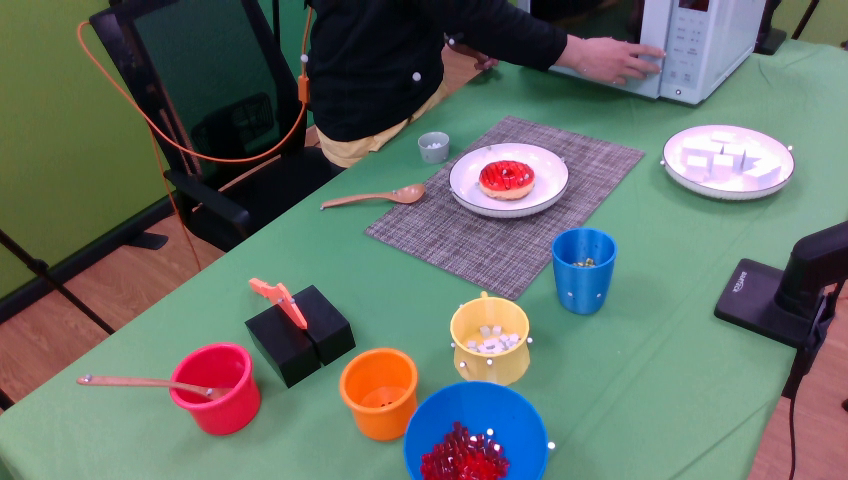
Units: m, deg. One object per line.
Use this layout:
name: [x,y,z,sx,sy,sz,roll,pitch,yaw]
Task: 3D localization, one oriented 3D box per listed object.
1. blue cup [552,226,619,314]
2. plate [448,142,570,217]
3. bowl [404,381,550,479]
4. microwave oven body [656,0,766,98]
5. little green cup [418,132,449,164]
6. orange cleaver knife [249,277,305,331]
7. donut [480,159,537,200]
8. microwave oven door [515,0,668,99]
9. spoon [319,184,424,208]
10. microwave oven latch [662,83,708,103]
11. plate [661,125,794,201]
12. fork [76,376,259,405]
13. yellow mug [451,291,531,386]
blue cup: [0.218,0.047,0.826,0.092,0.101,0.092,-6,40,5]
plate: [0.148,-0.101,1.053,0.209,0.038,0.208,-4,40,4]
bowl: [0.058,0.235,0.645,0.151,0.077,0.150,-4,39,4]
microwave oven body: [0.473,-0.513,1.317,0.438,0.261,0.327,26,51,34]
little green cup: [0.019,-0.178,1.168,0.061,0.039,0.061,-3,41,3]
orange cleaver knife: [-0.210,0.088,0.856,0.012,0.077,0.210,-28,15,-25]
donut: [0.145,-0.106,1.042,0.099,0.048,0.098,-4,38,4]
microwave oven door: [0.338,-0.451,1.255,0.353,0.245,0.039,29,52,35]
spoon: [-0.094,-0.076,1.074,0.193,0.022,0.041,-5,59,5]
microwave oven latch: [0.518,-0.297,1.204,0.078,0.029,0.030,28,52,36]
plate: [0.514,-0.128,1.035,0.207,0.039,0.206,-4,40,4]
fork: [-0.295,0.176,0.716,0.209,0.018,0.028,20,27,-37]
yellow mug: [0.086,0.120,0.786,0.100,0.064,0.130,-7,39,1]
